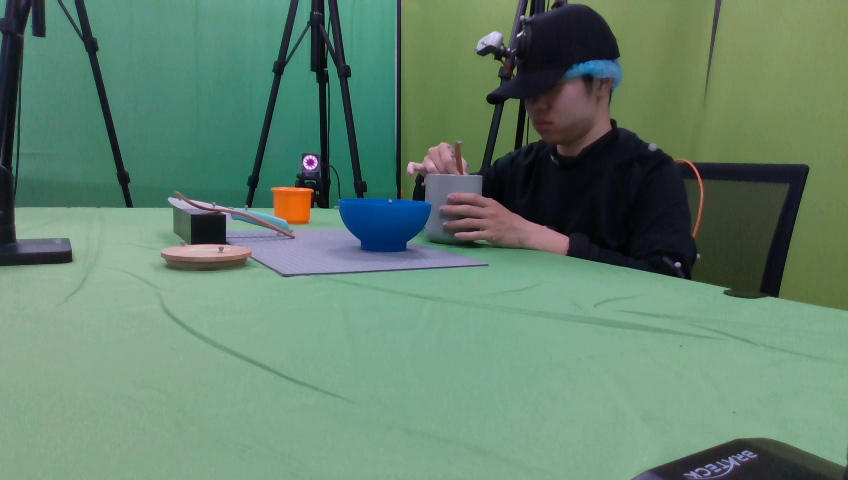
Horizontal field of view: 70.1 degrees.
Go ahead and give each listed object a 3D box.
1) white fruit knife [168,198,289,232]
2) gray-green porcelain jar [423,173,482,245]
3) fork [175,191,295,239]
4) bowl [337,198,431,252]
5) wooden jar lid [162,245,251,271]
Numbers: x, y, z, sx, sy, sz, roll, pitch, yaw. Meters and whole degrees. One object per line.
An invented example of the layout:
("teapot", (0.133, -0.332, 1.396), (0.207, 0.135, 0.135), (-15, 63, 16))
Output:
("white fruit knife", (-0.329, -0.044, 1.036), (0.208, 0.027, 0.016), (14, -1, -32))
("gray-green porcelain jar", (0.051, -0.058, 1.115), (0.106, 0.126, 0.106), (3, 8, 0))
("fork", (-0.305, -0.039, 0.993), (0.208, 0.018, 0.028), (19, -9, -34))
("bowl", (-0.066, -0.024, 0.966), (0.151, 0.077, 0.151), (2, 7, 0))
("wooden jar lid", (-0.278, 0.022, 0.777), (0.108, 0.020, 0.108), (2, 6, 0))
